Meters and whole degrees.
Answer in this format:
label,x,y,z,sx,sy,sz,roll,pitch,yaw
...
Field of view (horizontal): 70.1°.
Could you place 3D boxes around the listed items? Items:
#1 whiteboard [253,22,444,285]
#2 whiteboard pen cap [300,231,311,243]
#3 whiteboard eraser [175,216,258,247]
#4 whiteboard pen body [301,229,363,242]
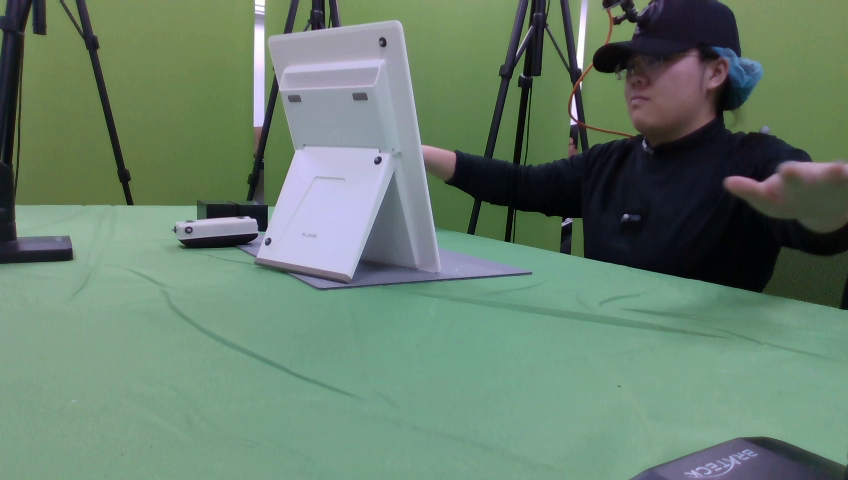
label,x,y,z,sx,sy,sz,roll,pitch,yaw
whiteboard,-0.125,-0.081,0.715,0.216,0.305,0.144,9,29,36
whiteboard pen cap,-0.189,-0.004,0.965,0.018,0.018,0.033,2,9,-9
whiteboard eraser,-0.313,-0.013,0.915,0.113,0.042,0.055,-5,12,-30
whiteboard pen body,-0.153,-0.007,1.017,0.017,0.017,0.141,8,9,36
